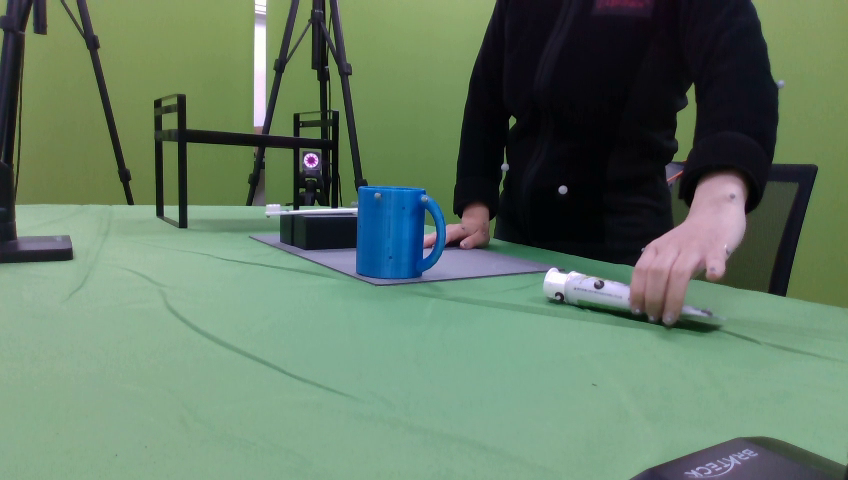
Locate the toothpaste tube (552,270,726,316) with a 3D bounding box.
[{"bbox_3d":[0.197,0.054,0.581,0.164,0.034,0.055,8,1,37],"label":"toothpaste tube"}]

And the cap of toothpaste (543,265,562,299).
[{"bbox_3d":[0.137,0.044,0.631,0.011,0.037,0.037,9,10,38],"label":"cap of toothpaste"}]

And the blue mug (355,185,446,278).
[{"bbox_3d":[-0.027,-0.011,0.723,0.116,0.106,0.083,7,8,27],"label":"blue mug"}]

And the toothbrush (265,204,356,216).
[{"bbox_3d":[-0.160,-0.048,0.937,0.183,0.016,0.014,-4,4,-39],"label":"toothbrush"}]
